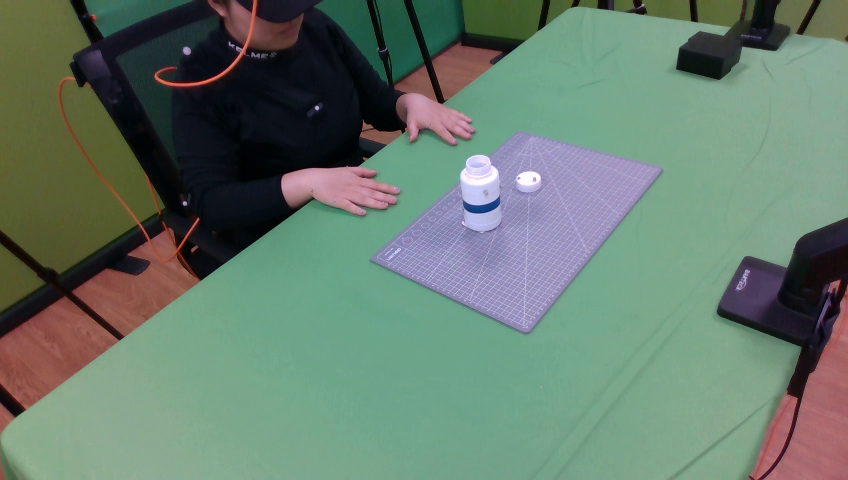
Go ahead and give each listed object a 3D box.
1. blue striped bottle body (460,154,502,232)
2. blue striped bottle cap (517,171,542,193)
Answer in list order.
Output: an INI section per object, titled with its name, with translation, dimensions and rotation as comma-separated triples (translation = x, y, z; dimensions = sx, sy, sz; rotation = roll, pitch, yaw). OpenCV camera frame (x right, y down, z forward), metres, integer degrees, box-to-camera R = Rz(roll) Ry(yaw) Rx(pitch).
[blue striped bottle body]
translation = 0.092, -0.078, 0.976
dimensions = 0.063, 0.121, 0.063
rotation = -6, 40, 5
[blue striped bottle cap]
translation = 0.187, -0.103, 1.072
dimensions = 0.044, 0.021, 0.044
rotation = -5, 41, 5
